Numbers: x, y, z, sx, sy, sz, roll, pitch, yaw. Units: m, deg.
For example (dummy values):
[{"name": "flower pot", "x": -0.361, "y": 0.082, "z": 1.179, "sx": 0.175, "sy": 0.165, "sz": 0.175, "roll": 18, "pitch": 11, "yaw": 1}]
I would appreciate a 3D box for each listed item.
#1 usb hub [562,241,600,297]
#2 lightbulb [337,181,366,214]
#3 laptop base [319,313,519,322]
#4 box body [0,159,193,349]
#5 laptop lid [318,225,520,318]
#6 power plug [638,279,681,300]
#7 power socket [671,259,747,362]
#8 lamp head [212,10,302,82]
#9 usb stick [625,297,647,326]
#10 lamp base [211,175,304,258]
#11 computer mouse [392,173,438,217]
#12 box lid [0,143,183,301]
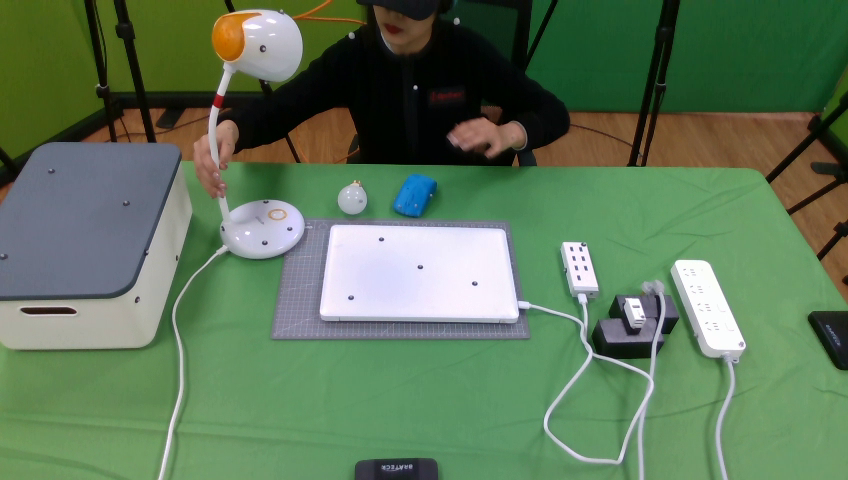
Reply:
[{"name": "usb hub", "x": 0.300, "y": 0.055, "z": 1.162, "sx": 0.049, "sy": 0.025, "sz": 0.124, "roll": 2, "pitch": 46, "yaw": -3}, {"name": "lightbulb", "x": -0.147, "y": -0.094, "z": 1.261, "sx": 0.059, "sy": 0.060, "sz": 0.107, "roll": 4, "pitch": 30, "yaw": 0}, {"name": "laptop base", "x": -0.009, "y": 0.063, "z": 1.137, "sx": 0.354, "sy": 0.023, "sz": 0.234, "roll": 1, "pitch": 42, "yaw": -3}, {"name": "box body", "x": -0.570, "y": 0.006, "z": 1.054, "sx": 0.254, "sy": 0.161, "sz": 0.361, "roll": -1, "pitch": 46, "yaw": -4}, {"name": "laptop lid", "x": -0.009, "y": 0.052, "z": 1.131, "sx": 0.357, "sy": 0.013, "sz": 0.240, "roll": 2, "pitch": 43, "yaw": -2}, {"name": "power plug", "x": 0.434, "y": 0.099, "z": 1.119, "sx": 0.073, "sy": 0.053, "sz": 0.035, "roll": 34, "pitch": 38, "yaw": -14}, {"name": "power socket", "x": 0.517, "y": 0.119, "z": 1.108, "sx": 0.072, "sy": 0.033, "sz": 0.225, "roll": 1, "pitch": 46, "yaw": -2}, {"name": "lamp head", "x": -0.272, "y": -0.305, "z": 0.950, "sx": 0.112, "sy": 0.112, "sz": 0.123, "roll": 27, "pitch": 25, "yaw": 21}, {"name": "usb stick", "x": 0.360, "y": 0.116, "z": 1.034, "sx": 0.021, "sy": 0.027, "sz": 0.059, "roll": -2, "pitch": 44, "yaw": -2}, {"name": "lamp base", "x": -0.323, "y": -0.071, "z": 1.131, "sx": 0.160, "sy": 0.181, "sz": 0.179, "roll": 32, "pitch": 55, "yaw": 26}, {"name": "computer mouse", "x": -0.018, "y": -0.098, "z": 1.282, "sx": 0.062, "sy": 0.041, "sz": 0.117, "roll": 20, "pitch": 52, "yaw": 13}, {"name": "box lid", "x": -0.567, "y": -0.045, "z": 0.999, "sx": 0.263, "sy": 0.015, "sz": 0.369, "roll": -1, "pitch": 45, "yaw": -4}]
